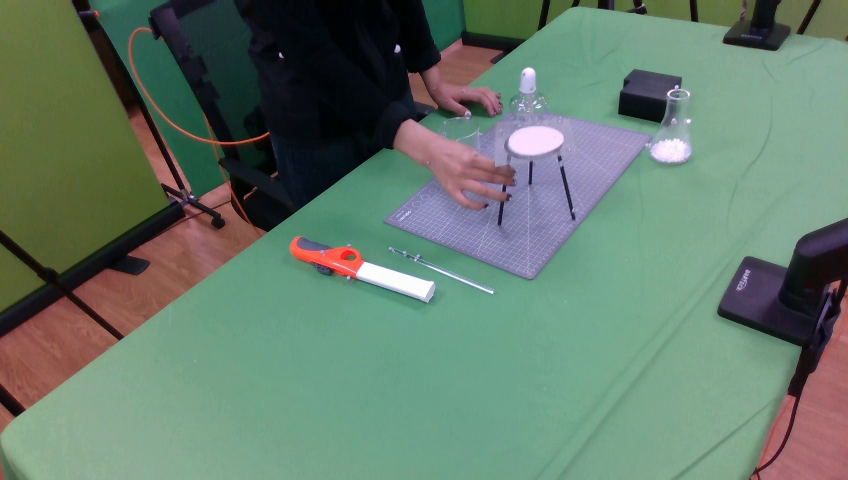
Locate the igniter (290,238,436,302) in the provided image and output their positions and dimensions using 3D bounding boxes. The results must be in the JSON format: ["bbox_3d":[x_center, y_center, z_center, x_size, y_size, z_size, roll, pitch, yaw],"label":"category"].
[{"bbox_3d":[-0.106,0.043,0.949,0.274,0.025,0.057,16,56,27],"label":"igniter"}]

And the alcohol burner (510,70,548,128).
[{"bbox_3d":[0.209,-0.287,1.208,0.078,0.119,0.077,-5,42,5],"label":"alcohol burner"}]

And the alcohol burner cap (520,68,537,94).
[{"bbox_3d":[0.205,-0.313,1.183,0.034,0.048,0.033,-3,50,4],"label":"alcohol burner cap"}]

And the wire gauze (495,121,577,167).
[{"bbox_3d":[0.171,-0.153,0.936,0.121,0.011,0.124,-3,39,10],"label":"wire gauze"}]

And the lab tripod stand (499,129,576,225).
[{"bbox_3d":[0.178,-0.104,0.981,0.148,0.132,0.147,-7,39,6],"label":"lab tripod stand"}]

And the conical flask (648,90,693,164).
[{"bbox_3d":[0.437,-0.199,1.057,0.075,0.122,0.075,-5,40,5],"label":"conical flask"}]

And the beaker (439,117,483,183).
[{"bbox_3d":[0.068,-0.160,1.097,0.073,0.101,0.084,7,43,19],"label":"beaker"}]

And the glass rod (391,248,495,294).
[{"bbox_3d":[0.025,0.046,0.935,0.198,0.008,0.008,22,50,32],"label":"glass rod"}]
